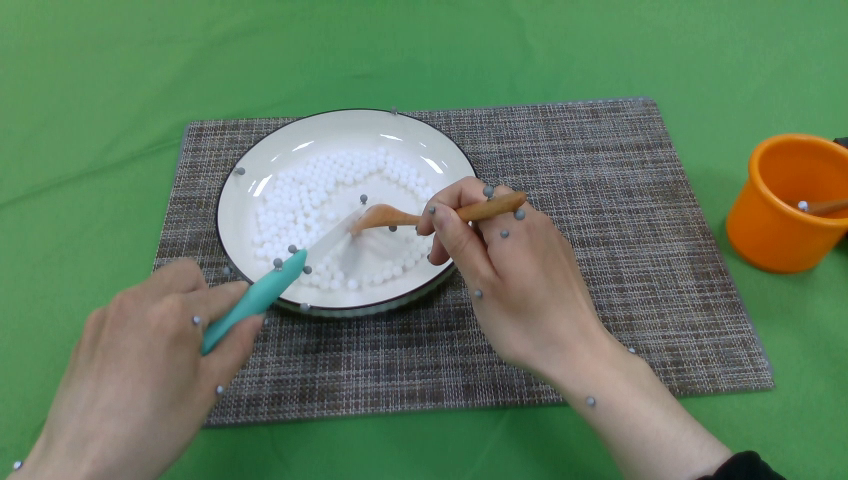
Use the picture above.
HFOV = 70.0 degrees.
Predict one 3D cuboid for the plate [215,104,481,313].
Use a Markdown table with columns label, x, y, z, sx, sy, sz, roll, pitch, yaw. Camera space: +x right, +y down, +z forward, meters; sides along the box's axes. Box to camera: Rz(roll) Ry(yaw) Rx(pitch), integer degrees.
| label | x | y | z | sx | sy | sz | roll | pitch | yaw |
| --- | --- | --- | --- | --- | --- | --- | --- | --- | --- |
| plate | -0.058 | -0.028 | 0.490 | 0.209 | 0.038 | 0.207 | 0 | 53 | 1 |

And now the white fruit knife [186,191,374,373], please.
| label | x | y | z | sx | sy | sz | roll | pitch | yaw |
| --- | --- | --- | --- | --- | --- | --- | --- | --- | --- |
| white fruit knife | -0.091 | 0.016 | 0.432 | 0.016 | 0.027 | 0.206 | 23 | 42 | 17 |

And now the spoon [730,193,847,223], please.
| label | x | y | z | sx | sy | sz | roll | pitch | yaw |
| --- | --- | --- | --- | --- | --- | --- | --- | --- | --- |
| spoon | 0.308 | -0.027 | 0.424 | 0.041 | 0.193 | 0.022 | -33 | 103 | -25 |

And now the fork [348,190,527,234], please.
| label | x | y | z | sx | sy | sz | roll | pitch | yaw |
| --- | --- | --- | --- | --- | --- | --- | --- | --- | --- |
| fork | -0.003 | -0.018 | 0.402 | 0.028 | 0.019 | 0.206 | -51 | 26 | -24 |
